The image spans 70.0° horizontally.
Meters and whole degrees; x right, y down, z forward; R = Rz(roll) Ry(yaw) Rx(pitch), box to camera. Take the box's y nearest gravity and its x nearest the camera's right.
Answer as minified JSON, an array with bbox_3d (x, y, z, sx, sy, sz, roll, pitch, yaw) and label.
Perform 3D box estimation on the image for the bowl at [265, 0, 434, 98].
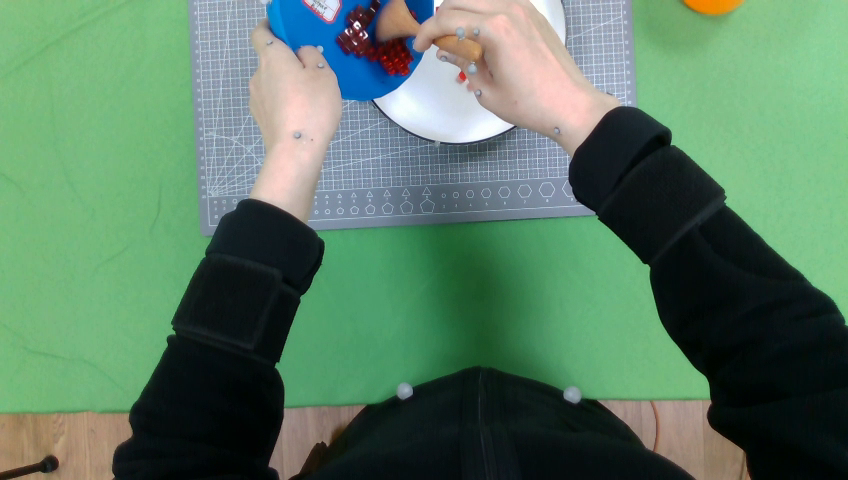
[{"bbox_3d":[-0.073,-0.200,0.505,0.076,0.153,0.151,26,92,45],"label":"bowl"}]

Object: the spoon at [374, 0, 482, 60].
[{"bbox_3d":[0.000,-0.160,0.459,0.022,0.191,0.042,20,105,-35],"label":"spoon"}]

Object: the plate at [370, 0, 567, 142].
[{"bbox_3d":[0.034,-0.199,0.597,0.209,0.038,0.209,0,90,3],"label":"plate"}]
